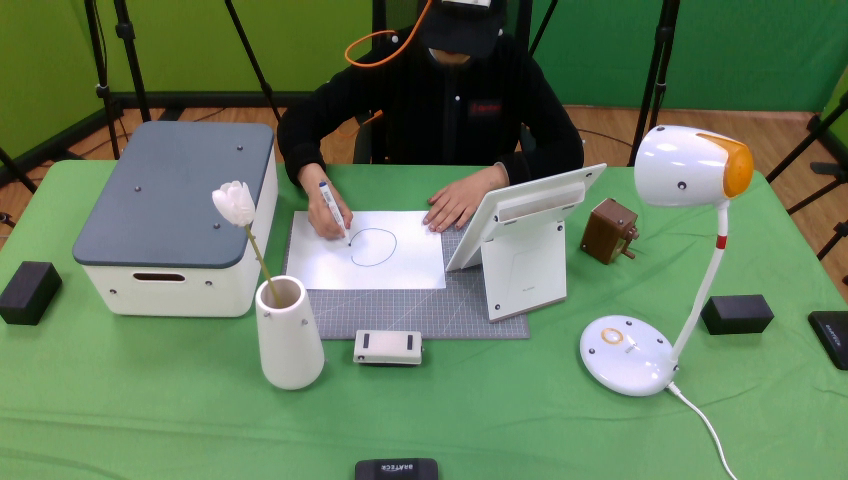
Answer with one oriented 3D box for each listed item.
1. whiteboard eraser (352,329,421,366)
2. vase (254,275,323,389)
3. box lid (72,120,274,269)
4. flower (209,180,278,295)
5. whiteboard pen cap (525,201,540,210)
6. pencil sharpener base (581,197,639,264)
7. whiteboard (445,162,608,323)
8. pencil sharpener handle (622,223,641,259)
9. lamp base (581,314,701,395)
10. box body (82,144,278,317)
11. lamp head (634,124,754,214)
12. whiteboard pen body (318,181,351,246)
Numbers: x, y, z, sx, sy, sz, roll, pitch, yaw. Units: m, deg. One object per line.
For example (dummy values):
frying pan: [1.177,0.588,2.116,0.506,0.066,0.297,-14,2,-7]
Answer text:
whiteboard eraser: [-0.061,0.180,1.005,0.113,0.042,0.055,3,48,-3]
vase: [-0.209,0.143,0.921,0.098,0.201,0.097,1,46,-1]
box lid: [-0.417,-0.094,1.056,0.263,0.015,0.369,1,47,-3]
flower: [-0.217,0.075,0.871,0.044,0.363,0.038,-29,36,-19]
whiteboard pen cap: [0.230,-0.074,1.289,0.033,0.018,0.018,5,46,4]
pencil sharpener base: [0.362,-0.017,1.179,0.076,0.107,0.061,37,54,27]
whiteboard: [0.186,0.025,1.029,0.217,0.306,0.143,-14,68,-17]
pencil sharpener handle: [0.397,0.003,1.146,0.030,0.068,0.036,37,46,27]
lamp base: [0.361,0.145,0.973,0.178,0.181,0.160,34,53,23]
box body: [-0.421,-0.041,1.108,0.254,0.161,0.361,2,46,-3]
lamp head: [0.351,-0.089,0.776,0.112,0.113,0.122,-30,30,-28]
whiteboard pen body: [-0.169,-0.049,1.157,0.017,0.141,0.017,-18,24,8]
